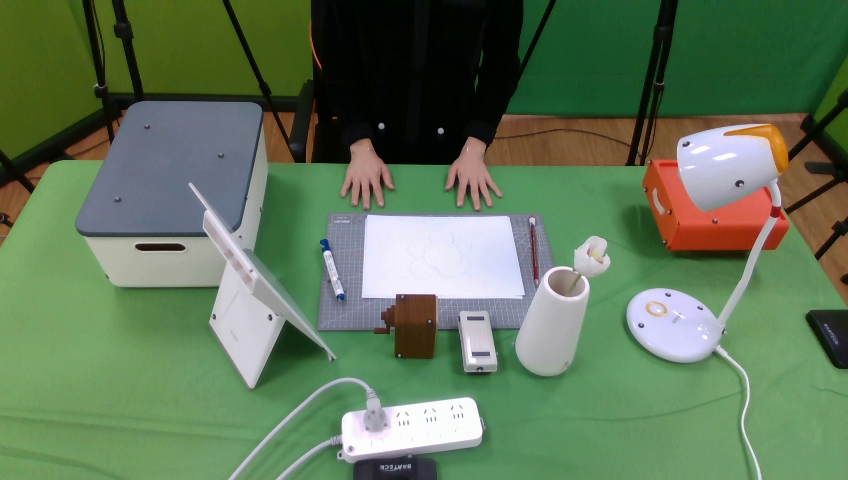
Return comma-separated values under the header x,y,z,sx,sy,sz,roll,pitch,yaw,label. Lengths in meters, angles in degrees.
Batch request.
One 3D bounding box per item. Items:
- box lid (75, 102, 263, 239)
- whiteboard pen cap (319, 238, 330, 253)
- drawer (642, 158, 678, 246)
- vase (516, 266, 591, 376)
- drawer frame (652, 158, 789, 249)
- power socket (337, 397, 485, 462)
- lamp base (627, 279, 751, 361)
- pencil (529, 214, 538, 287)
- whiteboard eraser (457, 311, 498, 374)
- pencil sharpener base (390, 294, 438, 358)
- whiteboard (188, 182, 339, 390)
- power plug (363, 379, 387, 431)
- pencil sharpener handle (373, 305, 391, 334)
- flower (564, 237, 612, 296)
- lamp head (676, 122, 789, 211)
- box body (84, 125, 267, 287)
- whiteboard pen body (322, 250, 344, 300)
x,y,z,sx,sy,sz,roll,pitch,yaw,label
-0.443,-0.138,1.094,0.263,0.015,0.369,-1,47,-5,box lid
-0.191,0.013,1.163,0.018,0.018,0.033,-12,49,-16,whiteboard pen cap
0.566,-0.076,1.211,0.212,0.073,0.193,2,45,-2,drawer
0.208,0.132,0.965,0.098,0.201,0.097,3,46,-3,vase
0.571,-0.075,1.214,0.214,0.083,0.200,0,45,-1,drawer frame
-0.018,0.285,0.915,0.227,0.033,0.071,-5,46,-8,power socket
0.459,0.100,1.027,0.178,0.181,0.160,27,51,17,lamp base
0.219,0.019,1.202,0.012,0.012,0.193,5,47,1,pencil
0.089,0.173,1.025,0.055,0.042,0.112,-2,47,-4,whiteboard eraser
-0.018,0.143,1.000,0.077,0.107,0.061,1,46,-2,pencil sharpener base
-0.292,0.096,0.929,0.144,0.307,0.216,-38,57,-10,whiteboard
-0.072,0.252,0.910,0.035,0.053,0.072,3,45,-1,power plug
-0.069,0.133,0.989,0.030,0.068,0.036,1,47,-2,pencil sharpener handle
0.206,0.088,0.893,0.038,0.363,0.044,-17,67,-9,flower
0.423,-0.104,0.819,0.122,0.113,0.112,-13,33,40,lamp head
-0.446,-0.088,1.150,0.254,0.161,0.361,-1,46,-5,box body
-0.173,0.056,1.127,0.017,0.017,0.140,-12,49,-16,whiteboard pen body
